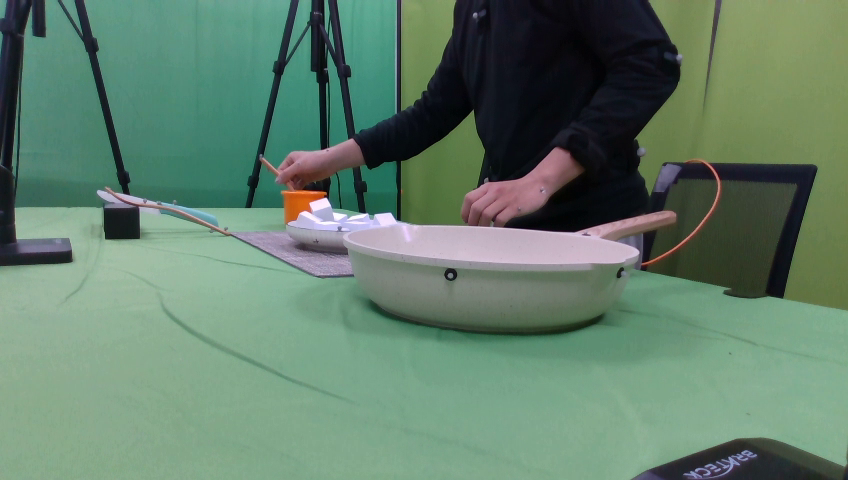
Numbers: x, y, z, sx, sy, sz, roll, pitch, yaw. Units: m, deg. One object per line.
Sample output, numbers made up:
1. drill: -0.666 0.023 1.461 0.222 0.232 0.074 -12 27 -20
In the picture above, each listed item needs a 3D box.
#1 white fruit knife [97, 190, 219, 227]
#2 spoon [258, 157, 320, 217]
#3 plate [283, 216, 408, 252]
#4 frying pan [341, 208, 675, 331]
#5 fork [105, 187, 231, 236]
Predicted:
1. white fruit knife: -0.468 -0.056 1.079 0.208 0.027 0.016 15 -1 -29
2. spoon: -0.280 -0.108 1.253 0.022 0.193 0.041 -37 -17 -18
3. plate: -0.119 -0.010 0.968 0.208 0.039 0.207 3 7 0
4. frying pan: 0.144 0.008 0.677 0.490 0.102 0.305 -13 16 -36
5. fork: -0.428 -0.046 1.021 0.208 0.018 0.028 19 -7 -26
